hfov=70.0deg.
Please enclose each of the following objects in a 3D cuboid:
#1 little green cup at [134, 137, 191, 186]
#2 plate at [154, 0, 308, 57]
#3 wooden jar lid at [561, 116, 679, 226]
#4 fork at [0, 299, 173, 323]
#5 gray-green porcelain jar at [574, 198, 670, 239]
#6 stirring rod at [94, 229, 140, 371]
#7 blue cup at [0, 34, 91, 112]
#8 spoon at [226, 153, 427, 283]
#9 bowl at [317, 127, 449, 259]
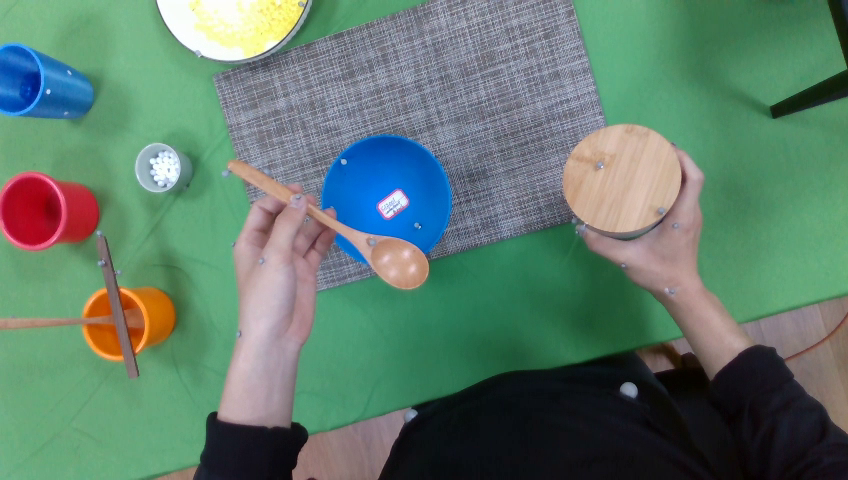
[{"bbox_3d":[-0.331,-0.098,0.772,0.061,0.038,0.061,1,94,9],"label":"little green cup"},{"bbox_3d":[-0.234,-0.327,0.745,0.209,0.038,0.209,0,94,8],"label":"plate"},{"bbox_3d":[0.189,-0.066,0.587,0.108,0.021,0.108,-3,81,19],"label":"wooden jar lid"},{"bbox_3d":[-0.418,0.089,0.740,0.209,0.018,0.028,1,97,-36],"label":"fork"},{"bbox_3d":[0.208,-0.058,0.646,0.105,0.127,0.105,-2,82,18],"label":"gray-green porcelain jar"},{"bbox_3d":[-0.370,0.073,0.729,0.014,0.006,0.176,-13,91,7],"label":"stirring rod"},{"bbox_3d":[-0.476,-0.199,0.754,0.092,0.100,0.092,1,94,9],"label":"blue cup"},{"bbox_3d":[-0.082,-0.022,0.520,0.194,0.021,0.041,32,96,-10],"label":"spoon"},{"bbox_3d":[-0.041,-0.053,0.712,0.151,0.077,0.151,0,94,8],"label":"bowl"}]
